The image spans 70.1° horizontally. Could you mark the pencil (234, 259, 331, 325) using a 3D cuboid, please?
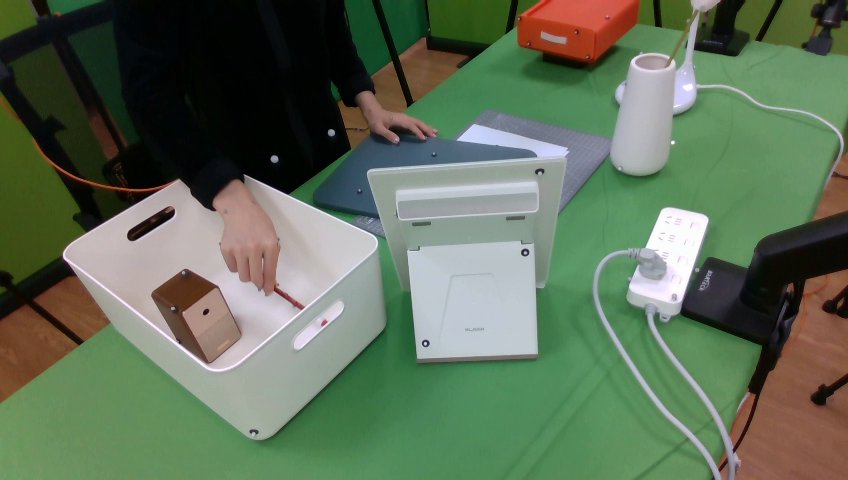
[{"bbox_3d":[-0.200,0.069,0.836,0.192,0.012,0.012,28,51,26],"label":"pencil"}]

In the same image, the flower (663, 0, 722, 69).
[{"bbox_3d":[0.379,-0.261,0.965,0.044,0.362,0.038,21,53,5],"label":"flower"}]

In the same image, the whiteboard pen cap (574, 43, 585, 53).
[{"bbox_3d":[0.346,-0.430,1.350,0.018,0.018,0.033,16,38,24],"label":"whiteboard pen cap"}]

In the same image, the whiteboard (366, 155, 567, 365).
[{"bbox_3d":[0.059,0.050,0.738,0.217,0.307,0.143,-3,60,5],"label":"whiteboard"}]

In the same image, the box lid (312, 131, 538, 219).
[{"bbox_3d":[0.007,-0.113,1.114,0.369,0.015,0.263,11,44,21],"label":"box lid"}]

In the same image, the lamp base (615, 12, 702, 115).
[{"bbox_3d":[0.484,-0.364,1.211,0.180,0.181,0.159,-15,41,-14],"label":"lamp base"}]

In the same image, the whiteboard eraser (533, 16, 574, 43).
[{"bbox_3d":[0.305,-0.493,1.422,0.055,0.042,0.113,27,43,25],"label":"whiteboard eraser"}]

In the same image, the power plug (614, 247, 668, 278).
[{"bbox_3d":[0.306,0.031,0.851,0.072,0.053,0.035,24,49,33],"label":"power plug"}]

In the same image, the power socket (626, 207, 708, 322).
[{"bbox_3d":[0.359,0.025,0.886,0.072,0.033,0.227,16,46,26],"label":"power socket"}]

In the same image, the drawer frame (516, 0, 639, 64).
[{"bbox_3d":[0.356,-0.507,1.410,0.200,0.083,0.214,25,51,32],"label":"drawer frame"}]

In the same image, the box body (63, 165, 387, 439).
[{"bbox_3d":[-0.257,0.068,0.824,0.361,0.161,0.255,24,49,31],"label":"box body"}]

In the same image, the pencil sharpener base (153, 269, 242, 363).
[{"bbox_3d":[-0.308,0.103,0.824,0.076,0.107,0.061,22,50,32],"label":"pencil sharpener base"}]

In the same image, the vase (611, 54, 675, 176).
[{"bbox_3d":[0.377,-0.209,1.031,0.098,0.201,0.097,-3,40,3],"label":"vase"}]

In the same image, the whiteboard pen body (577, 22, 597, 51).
[{"bbox_3d":[0.372,-0.468,1.390,0.017,0.017,0.141,14,47,23],"label":"whiteboard pen body"}]

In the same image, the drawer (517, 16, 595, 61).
[{"bbox_3d":[0.353,-0.505,1.404,0.193,0.073,0.212,25,50,33],"label":"drawer"}]

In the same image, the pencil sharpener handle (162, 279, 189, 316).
[{"bbox_3d":[-0.350,0.077,0.842,0.030,0.068,0.036,22,48,32],"label":"pencil sharpener handle"}]
